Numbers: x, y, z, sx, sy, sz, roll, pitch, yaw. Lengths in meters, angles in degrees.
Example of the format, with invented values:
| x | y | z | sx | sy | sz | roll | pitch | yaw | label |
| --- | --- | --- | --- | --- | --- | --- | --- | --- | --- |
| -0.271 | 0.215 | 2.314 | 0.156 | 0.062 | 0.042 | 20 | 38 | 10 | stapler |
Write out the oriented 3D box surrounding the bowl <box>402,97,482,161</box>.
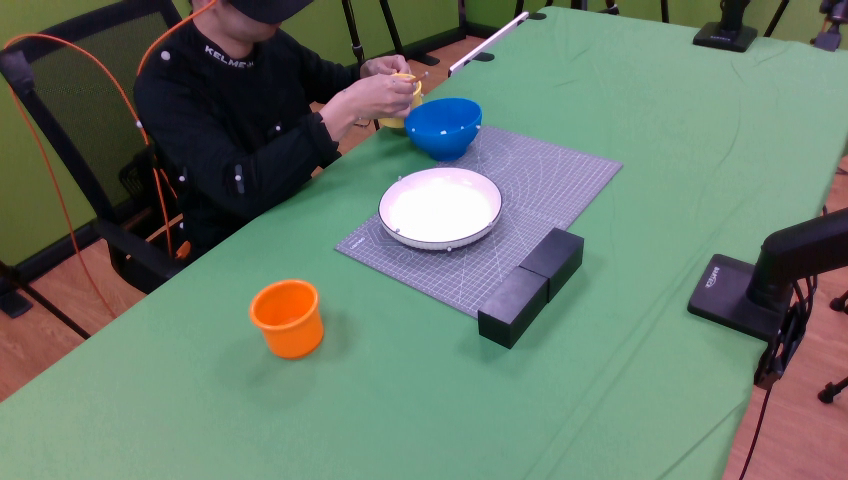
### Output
| x | y | z | sx | sy | sz | roll | pitch | yaw | label |
| --- | --- | --- | --- | --- | --- | --- | --- | --- | --- |
| 0.040 | -0.203 | 1.154 | 0.151 | 0.077 | 0.150 | -7 | 38 | 6 | bowl |

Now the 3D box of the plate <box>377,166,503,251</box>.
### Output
| x | y | z | sx | sy | sz | roll | pitch | yaw | label |
| --- | --- | --- | --- | --- | --- | --- | --- | --- | --- |
| 0.027 | -0.050 | 1.007 | 0.209 | 0.038 | 0.208 | -4 | 41 | 4 | plate |

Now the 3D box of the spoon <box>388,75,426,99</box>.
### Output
| x | y | z | sx | sy | sz | roll | pitch | yaw | label |
| --- | --- | --- | --- | --- | --- | --- | --- | --- | --- |
| -0.038 | -0.288 | 1.158 | 0.042 | 0.021 | 0.193 | -25 | 5 | -20 | spoon |

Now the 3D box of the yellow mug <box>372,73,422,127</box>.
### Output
| x | y | z | sx | sy | sz | roll | pitch | yaw | label |
| --- | --- | --- | --- | --- | --- | --- | --- | --- | --- |
| -0.053 | -0.295 | 1.238 | 0.100 | 0.064 | 0.130 | -8 | 44 | 0 | yellow mug |
